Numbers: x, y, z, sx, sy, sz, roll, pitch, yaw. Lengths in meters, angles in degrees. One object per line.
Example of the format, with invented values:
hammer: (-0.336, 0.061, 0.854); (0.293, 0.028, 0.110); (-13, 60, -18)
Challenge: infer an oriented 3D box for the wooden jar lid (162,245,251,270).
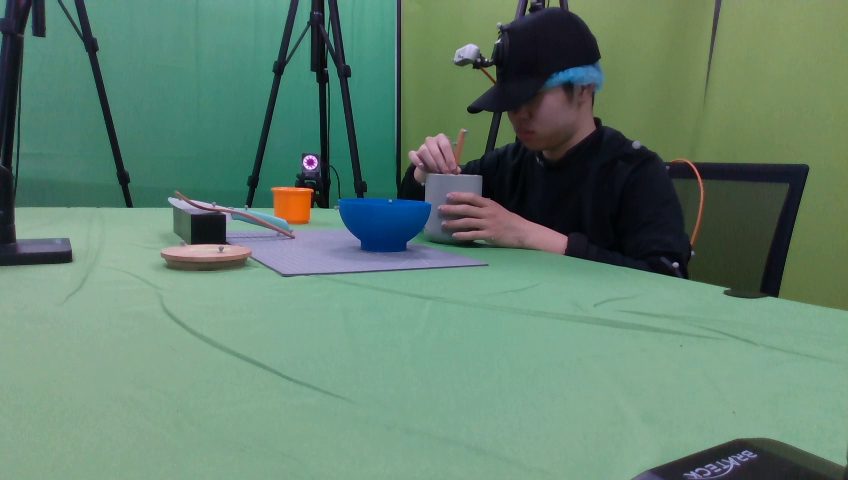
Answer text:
wooden jar lid: (-0.278, 0.022, 0.777); (0.108, 0.020, 0.108); (2, 6, 0)

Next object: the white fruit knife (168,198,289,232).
white fruit knife: (-0.329, -0.044, 1.036); (0.208, 0.027, 0.016); (14, -1, -32)

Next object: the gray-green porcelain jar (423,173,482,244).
gray-green porcelain jar: (0.052, -0.059, 1.116); (0.106, 0.126, 0.106); (3, 7, 0)

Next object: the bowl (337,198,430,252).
bowl: (-0.066, -0.024, 0.967); (0.151, 0.077, 0.151); (2, 7, 0)

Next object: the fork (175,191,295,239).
fork: (-0.306, -0.039, 0.993); (0.208, 0.018, 0.028); (19, -9, -34)
